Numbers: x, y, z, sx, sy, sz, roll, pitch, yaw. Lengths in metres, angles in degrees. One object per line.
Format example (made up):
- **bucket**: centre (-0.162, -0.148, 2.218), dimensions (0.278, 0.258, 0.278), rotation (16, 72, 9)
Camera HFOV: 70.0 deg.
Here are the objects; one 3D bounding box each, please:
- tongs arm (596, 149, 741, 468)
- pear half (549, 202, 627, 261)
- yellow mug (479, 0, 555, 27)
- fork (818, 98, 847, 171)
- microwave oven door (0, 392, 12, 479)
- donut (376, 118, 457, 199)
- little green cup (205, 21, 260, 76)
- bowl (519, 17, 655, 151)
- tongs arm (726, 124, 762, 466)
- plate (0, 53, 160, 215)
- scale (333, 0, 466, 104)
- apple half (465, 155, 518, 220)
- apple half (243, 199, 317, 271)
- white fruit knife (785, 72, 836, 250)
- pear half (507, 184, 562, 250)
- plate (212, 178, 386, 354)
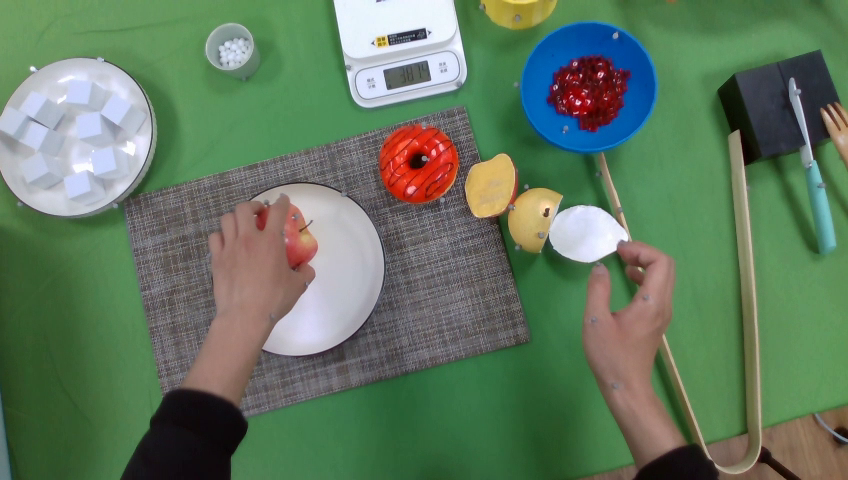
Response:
- **tongs arm**: centre (0.278, 0.072, 0.696), dimensions (0.051, 0.026, 0.383), rotation (-15, 84, -2)
- **pear half**: centre (0.193, -0.007, 0.712), dimensions (0.087, 0.031, 0.070), rotation (10, 82, 21)
- **yellow mug**: centre (0.103, -0.332, 0.737), dimensions (0.130, 0.064, 0.100), rotation (42, 89, 8)
- **fork**: centre (0.489, -0.061, 0.680), dimensions (0.028, 0.018, 0.208), rotation (-25, 98, -1)
- **microwave oven door**: centre (-0.535, 0.202, 0.619), dimensions (0.039, 0.244, 0.354), rotation (-13, 82, 3)
- **donut**: centre (-0.009, -0.098, 0.727), dimensions (0.099, 0.048, 0.099), rotation (-1, 85, 7)
- **little green cup**: centre (-0.239, -0.240, 0.767), dimensions (0.061, 0.039, 0.061), rotation (-1, 83, 5)
- **bowl**: centre (0.183, -0.170, 0.708), dimensions (0.151, 0.077, 0.151), rotation (0, 84, 4)
- **tongs arm**: centre (0.363, 0.058, 0.696), dimensions (0.028, 0.028, 0.386), rotation (0, 84, -4)
- **plate**: centre (-0.433, -0.132, 0.770), dimensions (0.207, 0.039, 0.207), rotation (0, 84, 4)
- **scale**: centre (-0.035, -0.279, 0.759), dimensions (0.148, 0.031, 0.200), rotation (-11, 84, 4)
- **apple half**: centre (0.088, -0.062, 0.722), dimensions (0.080, 0.033, 0.081), rotation (11, 105, 46)
- **apple half**: centre (-0.171, 0.000, 0.690), dimensions (0.074, 0.053, 0.081), rotation (-16, 106, 25)
- **white fruit knife**: centre (0.431, -0.086, 0.680), dimensions (0.016, 0.027, 0.208), rotation (-17, 97, 2)
- **pear half**: centre (0.121, -0.031, 0.681), dimensions (0.056, 0.110, 0.076), rotation (17, 80, 8)
- **plate**: centre (-0.146, 0.031, 0.727), dimensions (0.209, 0.038, 0.208), rotation (0, 84, 4)
